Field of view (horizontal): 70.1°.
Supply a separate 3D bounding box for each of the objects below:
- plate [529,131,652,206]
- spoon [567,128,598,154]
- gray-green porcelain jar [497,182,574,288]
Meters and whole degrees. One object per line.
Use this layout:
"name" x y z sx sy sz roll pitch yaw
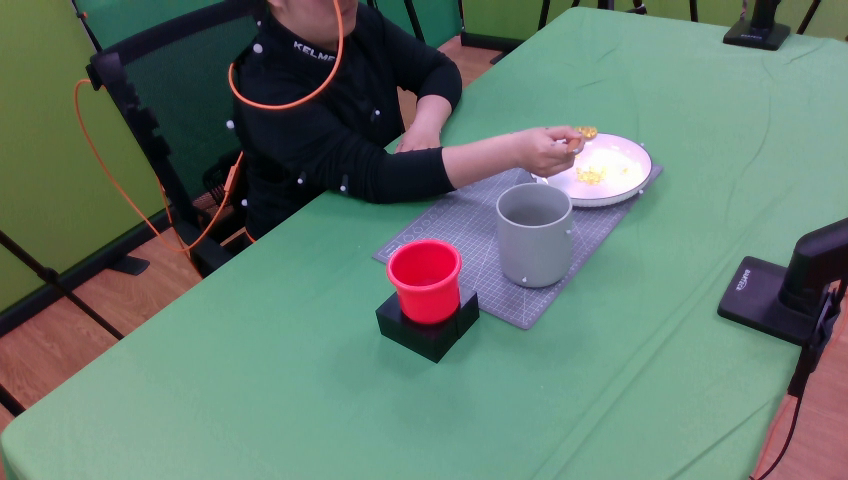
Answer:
"plate" 0.287 -0.122 1.056 0.207 0.039 0.206 -5 40 5
"spoon" 0.244 -0.158 0.953 0.041 0.021 0.194 7 17 21
"gray-green porcelain jar" 0.161 -0.003 0.870 0.106 0.127 0.105 -5 40 5
